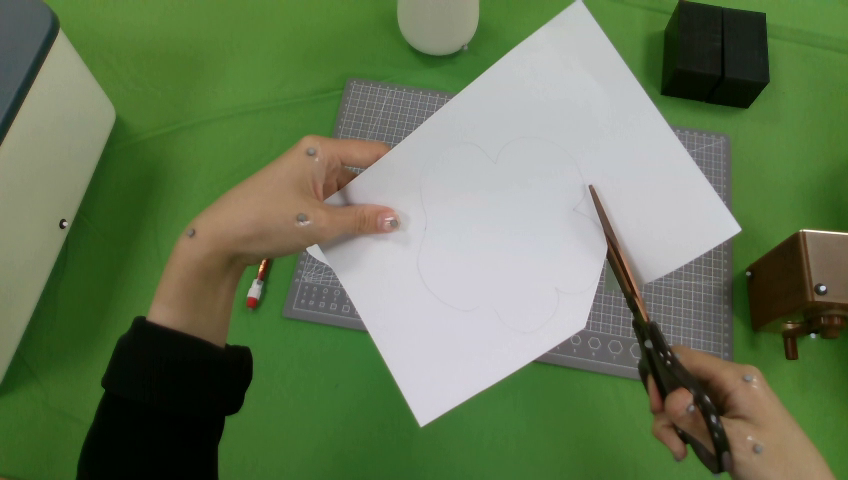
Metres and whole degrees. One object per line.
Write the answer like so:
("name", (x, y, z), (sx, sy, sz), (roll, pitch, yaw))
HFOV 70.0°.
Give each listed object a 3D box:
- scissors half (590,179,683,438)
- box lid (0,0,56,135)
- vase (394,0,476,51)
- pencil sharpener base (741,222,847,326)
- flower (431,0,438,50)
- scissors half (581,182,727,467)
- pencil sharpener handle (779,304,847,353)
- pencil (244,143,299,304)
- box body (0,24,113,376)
("scissors half", (0.128, 0.044, 0.369), (0.013, 0.040, 0.176), (-22, 106, 0))
("box lid", (-0.495, -0.080, 0.506), (0.263, 0.015, 0.369), (10, 68, 3))
("vase", (0.012, -0.303, 0.660), (0.098, 0.201, 0.097), (0, 67, 1))
("pencil sharpener base", (0.359, 0.040, 0.577), (0.061, 0.108, 0.076), (5, 69, 2))
("flower", (0.007, -0.347, 0.588), (0.044, 0.365, 0.038), (2, 50, 5))
("scissors half", (0.129, 0.044, 0.346), (0.013, 0.040, 0.174), (-22, 78, -5))
("pencil sharpener handle", (0.350, 0.082, 0.547), (0.036, 0.068, 0.030), (10, 68, -11))
("pencil", (-0.160, -0.023, 0.650), (0.012, 0.012, 0.193), (10, 67, 4))
("box body", (-0.495, -0.049, 0.575), (0.254, 0.161, 0.361), (9, 69, 3))
